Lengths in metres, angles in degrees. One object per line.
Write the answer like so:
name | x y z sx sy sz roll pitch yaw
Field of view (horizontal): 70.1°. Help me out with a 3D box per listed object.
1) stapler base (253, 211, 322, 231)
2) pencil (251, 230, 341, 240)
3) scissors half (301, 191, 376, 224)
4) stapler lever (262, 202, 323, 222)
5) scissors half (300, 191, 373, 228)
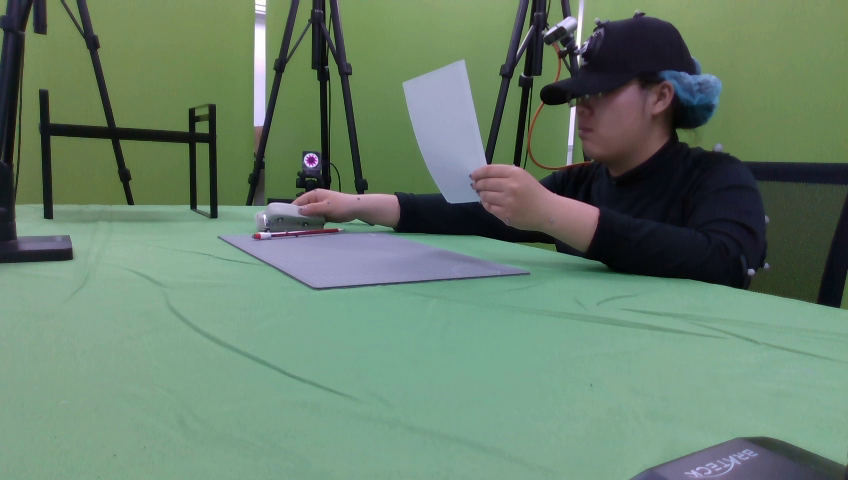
stapler base | -0.253 -0.040 1.136 0.131 0.041 0.024 -1 -22 -32
pencil | -0.215 -0.011 1.049 0.012 0.012 0.195 9 9 39
scissors half | -0.189 -0.073 1.334 0.175 0.013 0.040 22 12 -10
stapler lever | -0.240 -0.051 1.117 0.119 0.027 0.040 -1 -23 -33
scissors half | -0.191 -0.068 1.314 0.175 0.013 0.040 26 17 7
